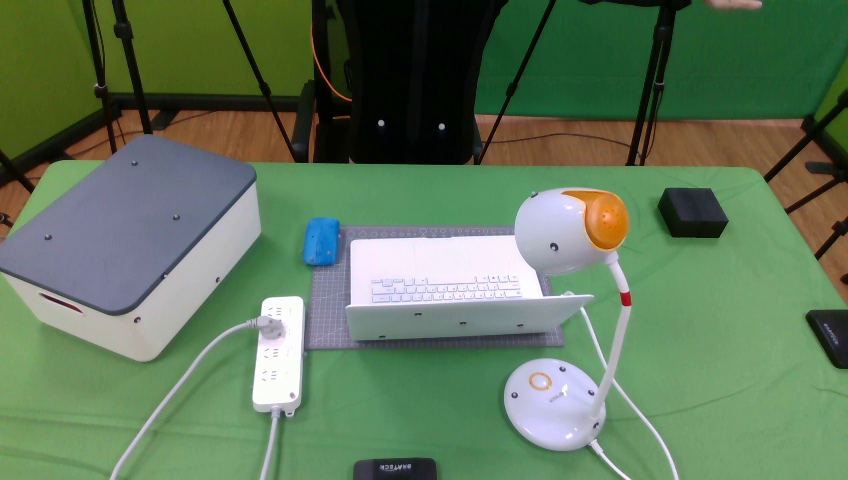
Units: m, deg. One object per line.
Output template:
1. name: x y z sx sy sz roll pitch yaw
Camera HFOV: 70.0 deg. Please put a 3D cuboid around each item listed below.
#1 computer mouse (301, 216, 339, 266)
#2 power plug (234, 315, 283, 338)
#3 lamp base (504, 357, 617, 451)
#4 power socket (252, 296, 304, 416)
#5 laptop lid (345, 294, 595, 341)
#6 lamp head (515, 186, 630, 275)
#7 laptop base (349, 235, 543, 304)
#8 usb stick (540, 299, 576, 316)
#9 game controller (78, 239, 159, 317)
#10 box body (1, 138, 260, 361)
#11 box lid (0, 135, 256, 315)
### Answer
1. computer mouse: -0.200 -0.002 1.169 0.063 0.041 0.116 3 50 -3
2. power plug: -0.270 0.143 1.000 0.072 0.053 0.035 5 47 2
3. lamp base: 0.220 0.211 0.902 0.160 0.181 0.178 -33 59 -30
4. power socket: -0.238 0.182 0.997 0.072 0.033 0.225 -3 47 -5
5. laptop lid: 0.059 0.124 0.934 0.357 0.242 0.013 -1 69 -7
6. lamp head: 0.188 -0.013 0.728 0.112 0.112 0.122 -25 9 -25
7. laptop base: 0.039 0.081 1.124 0.355 0.023 0.234 -2 43 -6
8. usb stick: 0.239 0.121 1.083 0.059 0.027 0.021 -1 51 -2
9. game controller: -0.498 0.056 0.987 0.097 0.052 0.154 -4 46 -5
10. box body: -0.483 0.006 1.056 0.254 0.161 0.362 17 47 12
11. box lid: -0.480 -0.044 1.002 0.263 0.015 0.370 18 47 12
